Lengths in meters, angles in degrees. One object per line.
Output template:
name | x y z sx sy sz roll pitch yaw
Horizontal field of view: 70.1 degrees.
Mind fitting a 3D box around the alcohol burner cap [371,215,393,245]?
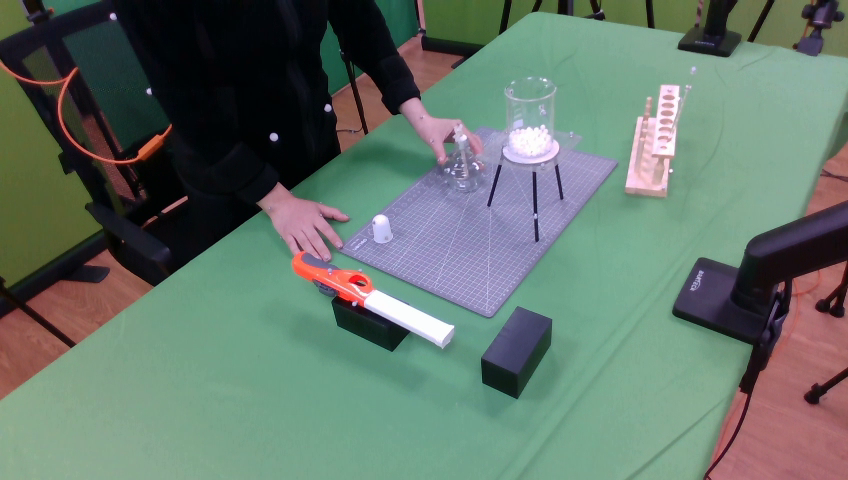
alcohol burner cap | -0.070 -0.019 0.990 0.034 0.048 0.033 -4 40 4

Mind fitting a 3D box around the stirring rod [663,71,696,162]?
stirring rod | 0.410 -0.195 0.981 0.014 0.177 0.006 12 50 14

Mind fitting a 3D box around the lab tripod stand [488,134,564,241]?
lab tripod stand | 0.168 -0.092 0.972 0.148 0.132 0.147 -5 41 5

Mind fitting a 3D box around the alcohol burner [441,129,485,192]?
alcohol burner | 0.067 -0.144 1.062 0.078 0.119 0.077 -5 42 5

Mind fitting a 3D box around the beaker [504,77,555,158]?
beaker | 0.160 -0.181 0.900 0.084 0.101 0.073 -33 46 -27

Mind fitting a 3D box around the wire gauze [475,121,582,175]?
wire gauze | 0.161 -0.142 0.929 0.120 0.011 0.125 19 49 32

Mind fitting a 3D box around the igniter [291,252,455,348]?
igniter | -0.080 0.076 0.822 0.274 0.025 0.057 23 45 27

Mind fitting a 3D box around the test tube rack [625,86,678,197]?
test tube rack | 0.412 -0.184 1.088 0.066 0.085 0.242 9 43 18
